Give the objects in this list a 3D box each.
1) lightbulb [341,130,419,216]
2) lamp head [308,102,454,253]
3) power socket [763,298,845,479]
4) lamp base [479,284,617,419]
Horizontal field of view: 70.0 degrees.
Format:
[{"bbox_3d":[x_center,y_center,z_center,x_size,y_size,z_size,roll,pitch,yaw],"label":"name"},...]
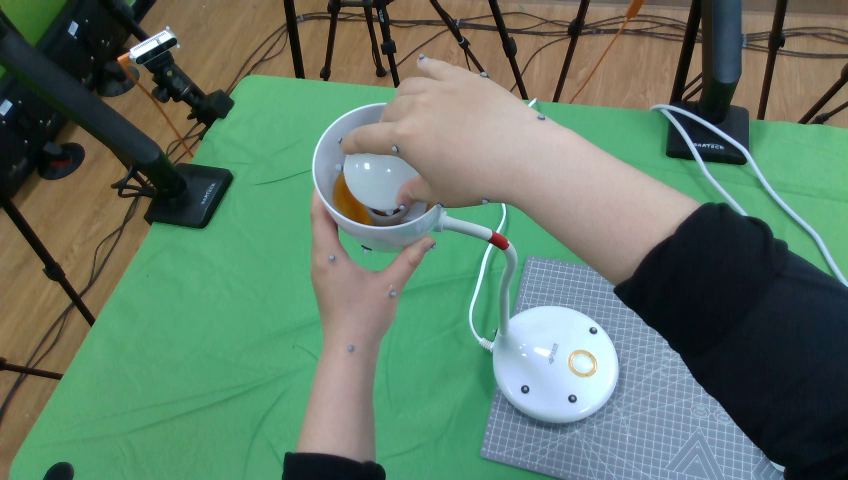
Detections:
[{"bbox_3d":[-0.034,-0.046,0.485,0.059,0.108,0.059,0,73,-1],"label":"lightbulb"},{"bbox_3d":[-0.029,-0.038,0.516,0.112,0.124,0.111,-2,66,5],"label":"lamp head"},{"bbox_3d":[0.454,0.170,0.730,0.072,0.033,0.225,9,59,14],"label":"power socket"},{"bbox_3d":[0.144,0.112,0.730,0.178,0.182,0.159,3,58,15],"label":"lamp base"}]
